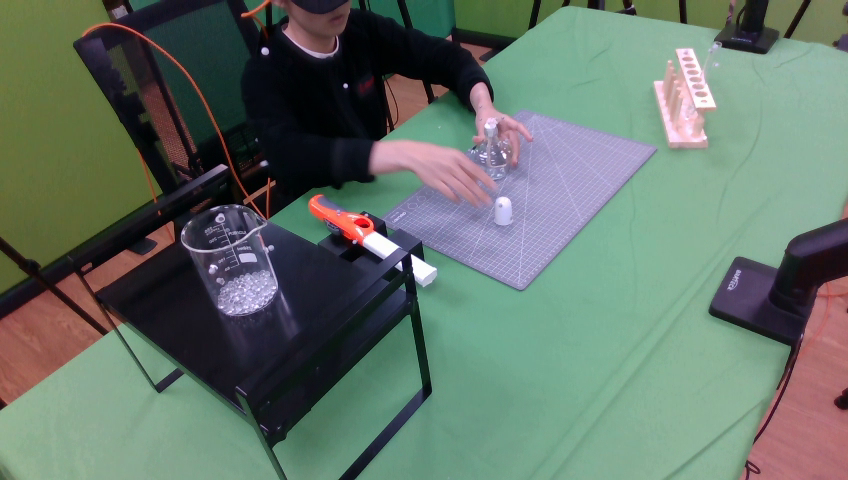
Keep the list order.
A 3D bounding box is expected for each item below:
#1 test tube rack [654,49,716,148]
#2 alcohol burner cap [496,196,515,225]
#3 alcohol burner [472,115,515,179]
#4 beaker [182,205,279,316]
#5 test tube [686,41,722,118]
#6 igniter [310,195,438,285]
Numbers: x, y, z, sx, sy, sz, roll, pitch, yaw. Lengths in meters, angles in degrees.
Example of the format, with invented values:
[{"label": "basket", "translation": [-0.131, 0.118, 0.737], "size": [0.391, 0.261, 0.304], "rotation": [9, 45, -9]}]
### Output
[{"label": "test tube rack", "translation": [0.502, -0.280, 1.176], "size": [0.066, 0.085, 0.241], "rotation": [2, 41, 11]}, {"label": "alcohol burner cap", "translation": [0.134, -0.051, 0.995], "size": [0.034, 0.048, 0.033], "rotation": [-4, 43, 5]}, {"label": "alcohol burner", "translation": [0.123, -0.169, 1.079], "size": [0.078, 0.119, 0.077], "rotation": [-6, 41, 6]}, {"label": "beaker", "translation": [-0.197, 0.024, 0.641], "size": [0.084, 0.101, 0.073], "rotation": [-12, 41, -6]}, {"label": "test tube", "translation": [0.510, -0.290, 1.105], "size": [0.017, 0.150, 0.017], "rotation": [2, 44, -1]}, {"label": "igniter", "translation": [-0.086, -0.007, 0.921], "size": [0.274, 0.025, 0.057], "rotation": [31, 50, 34]}]
